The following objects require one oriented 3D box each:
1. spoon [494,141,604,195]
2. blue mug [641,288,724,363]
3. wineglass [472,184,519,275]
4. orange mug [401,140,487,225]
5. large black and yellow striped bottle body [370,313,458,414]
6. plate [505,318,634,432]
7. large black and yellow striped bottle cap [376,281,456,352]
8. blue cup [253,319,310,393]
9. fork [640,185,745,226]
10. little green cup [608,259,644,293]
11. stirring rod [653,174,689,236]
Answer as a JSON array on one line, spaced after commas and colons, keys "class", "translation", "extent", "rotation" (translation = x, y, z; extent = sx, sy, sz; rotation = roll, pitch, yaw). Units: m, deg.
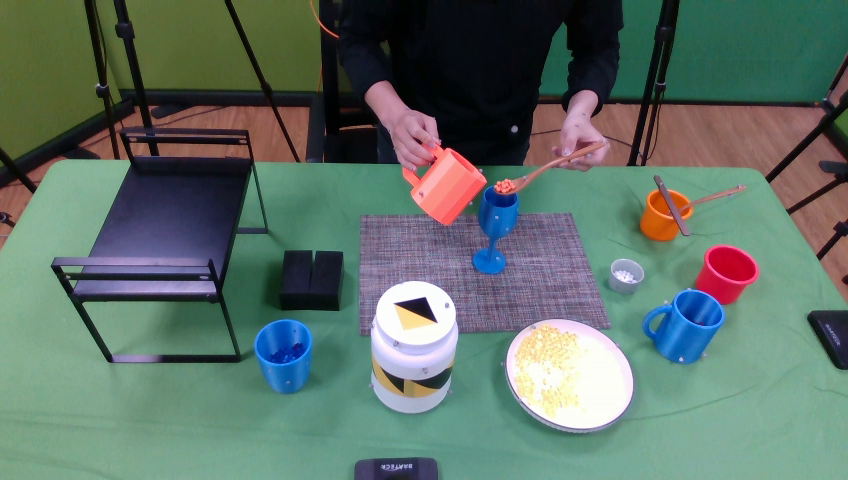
[{"class": "spoon", "translation": [0.205, -0.120, 1.003], "extent": [0.194, 0.022, 0.041], "rotation": [-27, 24, 19]}, {"class": "blue mug", "translation": [0.432, 0.144, 1.033], "extent": [0.116, 0.106, 0.082], "rotation": [9, 46, 5]}, {"class": "wineglass", "translation": [0.129, -0.018, 1.113], "extent": [0.074, 0.173, 0.073], "rotation": [2, 46, -2]}, {"class": "orange mug", "translation": [0.026, -0.101, 0.991], "extent": [0.126, 0.101, 0.083], "rotation": [47, 17, 6]}, {"class": "large black and yellow striped bottle body", "translation": [-0.017, 0.165, 0.924], "extent": [0.131, 0.185, 0.130], "rotation": [2, 46, -2]}, {"class": "plate", "translation": [0.235, 0.221, 0.991], "extent": [0.209, 0.038, 0.208], "rotation": [2, 46, -2]}, {"class": "large black and yellow striped bottle cap", "translation": [-0.011, 0.107, 0.863], "extent": [0.115, 0.019, 0.114], "rotation": [2, 47, -2]}, {"class": "blue cup", "translation": [-0.217, 0.187, 0.943], "extent": [0.093, 0.101, 0.092], "rotation": [4, 45, -3]}, {"class": "fork", "translation": [0.534, -0.069, 1.215], "extent": [0.207, 0.019, 0.028], "rotation": [-26, 27, 33]}, {"class": "little green cup", "translation": [0.379, 0.070, 1.147], "extent": [0.061, 0.039, 0.061], "rotation": [3, 45, -3]}, {"class": "stirring rod", "translation": [0.491, -0.072, 1.211], "extent": [0.014, 0.006, 0.175], "rotation": [0, 47, -6]}]
